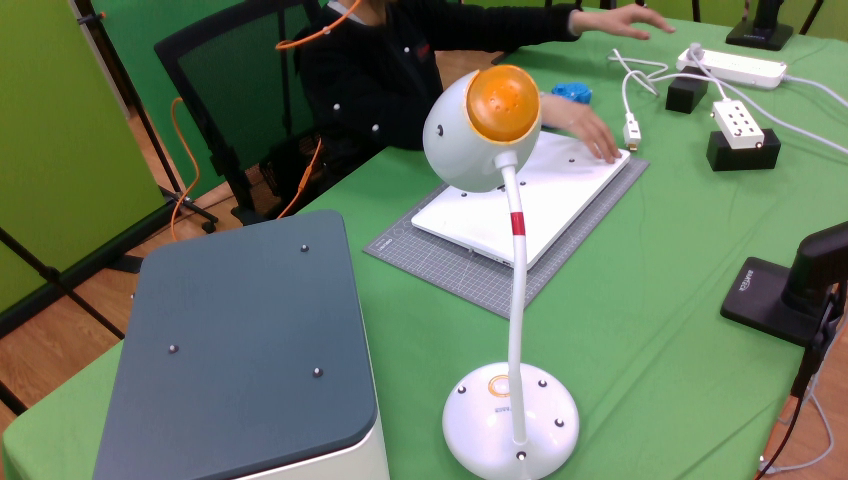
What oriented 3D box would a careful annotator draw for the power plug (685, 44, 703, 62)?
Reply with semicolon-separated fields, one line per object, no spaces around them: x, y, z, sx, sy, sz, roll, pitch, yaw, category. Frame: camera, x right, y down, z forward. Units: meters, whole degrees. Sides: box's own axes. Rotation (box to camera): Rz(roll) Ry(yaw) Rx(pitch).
0.568;-0.390;1.294;0.073;0.053;0.035;-33;46;-22;power plug

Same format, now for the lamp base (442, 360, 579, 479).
0.094;0.158;0.657;0.161;0.181;0.178;-13;42;-5;lamp base

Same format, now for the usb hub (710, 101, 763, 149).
0.535;-0.200;1.041;0.049;0.025;0.124;-4;39;8;usb hub

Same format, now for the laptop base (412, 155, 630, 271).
0.175;-0.084;1.056;0.233;0.023;0.355;21;48;35;laptop base

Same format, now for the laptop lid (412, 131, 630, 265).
0.172;-0.094;1.050;0.239;0.013;0.358;23;49;36;laptop lid

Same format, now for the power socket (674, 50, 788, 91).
0.646;-0.363;1.284;0.225;0.033;0.072;25;52;34;power socket

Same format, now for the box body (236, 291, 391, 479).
-0.190;0.161;0.723;0.255;0.161;0.361;-13;40;-5;box body

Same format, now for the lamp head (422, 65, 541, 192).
0.060;-0.106;0.560;0.113;0.112;0.122;-17;1;-8;lamp head

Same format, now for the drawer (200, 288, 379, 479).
-0.172;0.176;0.760;0.195;0.073;0.210;-13;42;-8;drawer

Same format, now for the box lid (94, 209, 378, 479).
-0.202;0.094;0.680;0.264;0.015;0.368;-13;39;-5;box lid

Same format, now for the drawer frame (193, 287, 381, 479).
-0.172;0.176;0.755;0.202;0.083;0.212;-14;42;-7;drawer frame

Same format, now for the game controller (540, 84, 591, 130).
0.277;-0.283;1.251;0.096;0.052;0.155;28;53;30;game controller

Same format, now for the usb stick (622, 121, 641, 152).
0.388;-0.191;1.129;0.021;0.027;0.059;5;60;-6;usb stick
